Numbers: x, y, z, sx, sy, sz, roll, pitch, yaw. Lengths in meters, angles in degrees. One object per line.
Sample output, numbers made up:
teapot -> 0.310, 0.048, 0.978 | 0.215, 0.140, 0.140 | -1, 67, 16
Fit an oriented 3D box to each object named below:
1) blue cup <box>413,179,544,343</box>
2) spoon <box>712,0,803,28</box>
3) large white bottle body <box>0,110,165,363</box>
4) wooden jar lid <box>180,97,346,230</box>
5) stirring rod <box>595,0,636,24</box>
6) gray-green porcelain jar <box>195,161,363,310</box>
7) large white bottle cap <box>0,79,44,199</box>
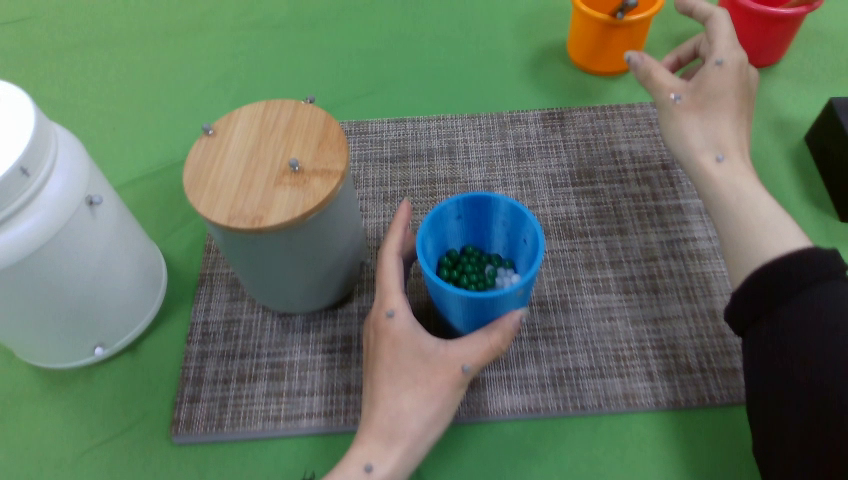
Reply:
blue cup -> 0.038, 0.027, 0.435 | 0.092, 0.101, 0.092 | -1, 55, 2
spoon -> 0.353, -0.224, 0.564 | 0.041, 0.192, 0.022 | -26, 105, -18
large white bottle body -> -0.281, -0.006, 0.424 | 0.130, 0.186, 0.129 | -1, 57, 2
wooden jar lid -> -0.104, -0.049, 0.401 | 0.108, 0.021, 0.107 | -3, 58, 4
stirring rod -> 0.178, -0.214, 0.571 | 0.014, 0.006, 0.175 | 2, 14, 9
gray-green porcelain jar -> -0.102, -0.015, 0.454 | 0.106, 0.127, 0.105 | -1, 57, 2
large white bottle cap -> -0.285, -0.052, 0.353 | 0.115, 0.018, 0.114 | -1, 57, 2
